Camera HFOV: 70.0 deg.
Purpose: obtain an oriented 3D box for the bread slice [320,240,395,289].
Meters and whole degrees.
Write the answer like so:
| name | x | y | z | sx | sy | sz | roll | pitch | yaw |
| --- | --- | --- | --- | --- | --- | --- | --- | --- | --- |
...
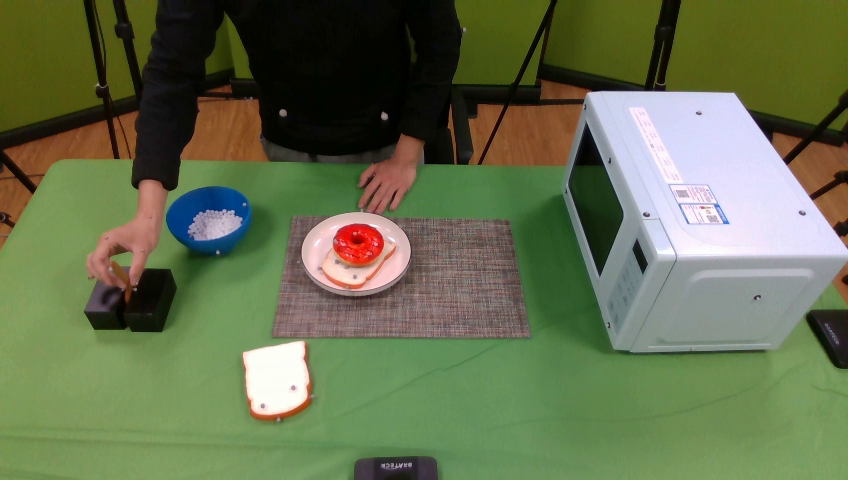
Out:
| name | x | y | z | sx | sy | sz | roll | pitch | yaw |
| --- | --- | --- | --- | --- | --- | --- | --- | --- | --- |
| bread slice | -0.129 | 0.037 | 1.141 | 0.107 | 0.018 | 0.134 | 19 | 47 | 14 |

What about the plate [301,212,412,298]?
| name | x | y | z | sx | sy | sz | roll | pitch | yaw |
| --- | --- | --- | --- | --- | --- | --- | --- | --- | --- |
| plate | -0.126 | 0.031 | 1.145 | 0.208 | 0.039 | 0.206 | 2 | 46 | -2 |

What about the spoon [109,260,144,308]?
| name | x | y | z | sx | sy | sz | roll | pitch | yaw |
| --- | --- | --- | --- | --- | --- | --- | --- | --- | --- |
| spoon | -0.480 | 0.068 | 0.982 | 0.022 | 0.194 | 0.041 | 13 | 64 | -11 |

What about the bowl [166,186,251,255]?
| name | x | y | z | sx | sy | sz | roll | pitch | yaw |
| --- | --- | --- | --- | --- | --- | --- | --- | --- | --- |
| bowl | -0.402 | -0.024 | 1.154 | 0.151 | 0.077 | 0.150 | 2 | 46 | -2 |

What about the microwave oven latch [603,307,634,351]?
| name | x | y | z | sx | sy | sz | roll | pitch | yaw |
| --- | --- | --- | --- | --- | --- | --- | --- | --- | --- |
| microwave oven latch | 0.332 | 0.153 | 1.044 | 0.030 | 0.029 | 0.078 | 0 | 45 | -4 |

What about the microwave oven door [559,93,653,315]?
| name | x | y | z | sx | sy | sz | roll | pitch | yaw |
| --- | --- | --- | --- | --- | --- | --- | --- | --- | --- |
| microwave oven door | 0.327 | -0.074 | 1.123 | 0.039 | 0.245 | 0.353 | -1 | 46 | -5 |

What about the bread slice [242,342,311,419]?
| name | x | y | z | sx | sy | sz | roll | pitch | yaw |
| --- | --- | --- | --- | --- | --- | --- | --- | --- | --- |
| bread slice | -0.234 | 0.223 | 0.970 | 0.105 | 0.019 | 0.130 | -10 | 46 | -13 |

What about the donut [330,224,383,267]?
| name | x | y | z | sx | sy | sz | roll | pitch | yaw |
| --- | --- | --- | --- | --- | --- | --- | --- | --- | --- |
| donut | -0.125 | 0.010 | 1.127 | 0.099 | 0.048 | 0.098 | 3 | 45 | -3 |

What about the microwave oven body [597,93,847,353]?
| name | x | y | z | sx | sy | sz | roll | pitch | yaw |
| --- | --- | --- | --- | --- | --- | --- | --- | --- | --- |
| microwave oven body | 0.475 | -0.041 | 1.109 | 0.326 | 0.261 | 0.438 | -1 | 45 | -4 |
